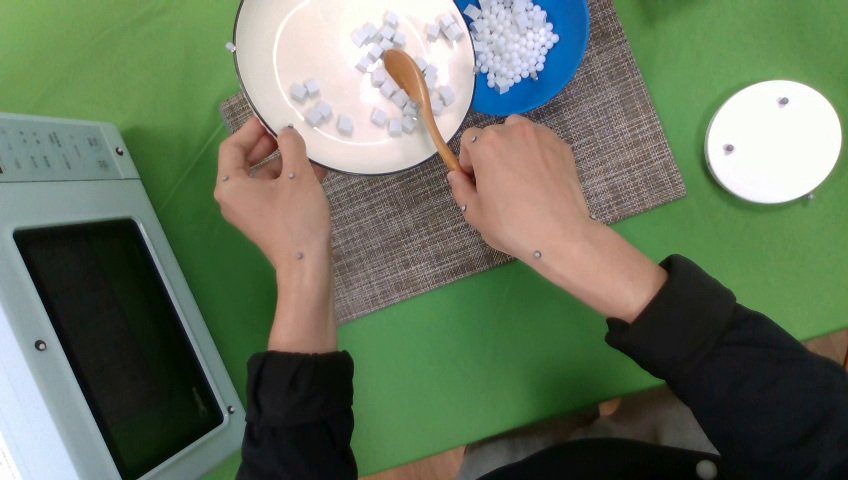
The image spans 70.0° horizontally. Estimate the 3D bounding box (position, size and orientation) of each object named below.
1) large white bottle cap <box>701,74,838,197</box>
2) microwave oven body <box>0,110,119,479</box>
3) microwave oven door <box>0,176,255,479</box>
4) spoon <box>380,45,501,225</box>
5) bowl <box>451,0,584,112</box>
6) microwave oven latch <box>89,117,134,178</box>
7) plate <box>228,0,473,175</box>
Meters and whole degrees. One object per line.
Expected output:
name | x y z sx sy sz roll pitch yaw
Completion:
large white bottle cap | 0.324 -0.097 0.571 0.114 0.018 0.115 2 98 15
microwave oven body | -0.473 0.120 0.702 0.326 0.260 0.441 -24 91 17
microwave oven door | -0.331 0.102 0.653 0.039 0.244 0.355 -25 90 18
spoon | 0.011 -0.089 0.501 0.022 0.042 0.192 -19 68 -18
bowl | 0.081 -0.199 0.591 0.151 0.077 0.151 2 99 16
microwave oven latch | -0.390 -0.111 0.746 0.030 0.029 0.079 -23 92 17
plate | -0.060 -0.156 0.527 0.210 0.038 0.208 2 84 -18
